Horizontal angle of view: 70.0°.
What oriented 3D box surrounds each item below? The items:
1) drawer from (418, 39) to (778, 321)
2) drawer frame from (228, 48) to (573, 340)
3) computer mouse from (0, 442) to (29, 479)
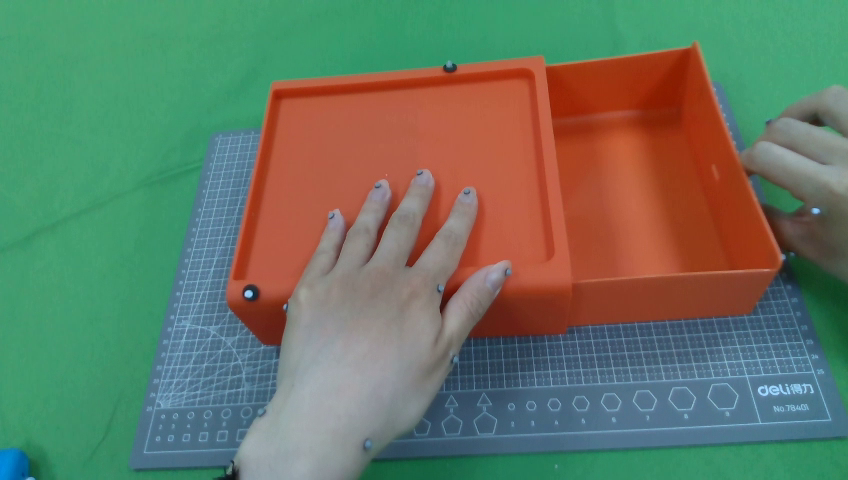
[{"bbox_3d":[0.103,-0.042,0.427,0.211,0.074,0.192,-4,57,7],"label":"drawer"},{"bbox_3d":[-0.009,-0.034,0.437,0.213,0.083,0.200,-4,58,7],"label":"drawer frame"},{"bbox_3d":[-0.282,0.182,0.370,0.063,0.041,0.116,-21,53,-3],"label":"computer mouse"}]
